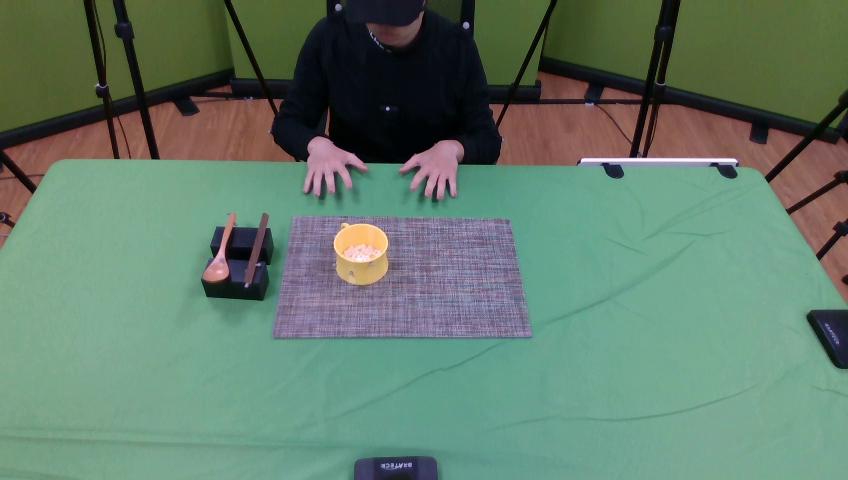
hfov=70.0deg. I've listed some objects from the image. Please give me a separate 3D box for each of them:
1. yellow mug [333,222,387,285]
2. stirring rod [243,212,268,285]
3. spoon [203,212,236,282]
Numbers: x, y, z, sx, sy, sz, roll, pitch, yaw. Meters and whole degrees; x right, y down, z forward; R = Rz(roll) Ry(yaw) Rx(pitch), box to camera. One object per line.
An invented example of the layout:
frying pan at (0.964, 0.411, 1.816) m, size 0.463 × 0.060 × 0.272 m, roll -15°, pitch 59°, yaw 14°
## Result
yellow mug at (-0.127, 0.016, 1.139) m, size 0.100 × 0.064 × 0.130 m, roll -23°, pitch 51°, yaw -25°
stirring rod at (-0.305, 0.012, 1.101) m, size 0.014 × 0.006 × 0.175 m, roll 31°, pitch 38°, yaw -28°
spoon at (-0.361, 0.009, 1.097) m, size 0.041 × 0.022 × 0.192 m, roll 0°, pitch 44°, yaw -2°
